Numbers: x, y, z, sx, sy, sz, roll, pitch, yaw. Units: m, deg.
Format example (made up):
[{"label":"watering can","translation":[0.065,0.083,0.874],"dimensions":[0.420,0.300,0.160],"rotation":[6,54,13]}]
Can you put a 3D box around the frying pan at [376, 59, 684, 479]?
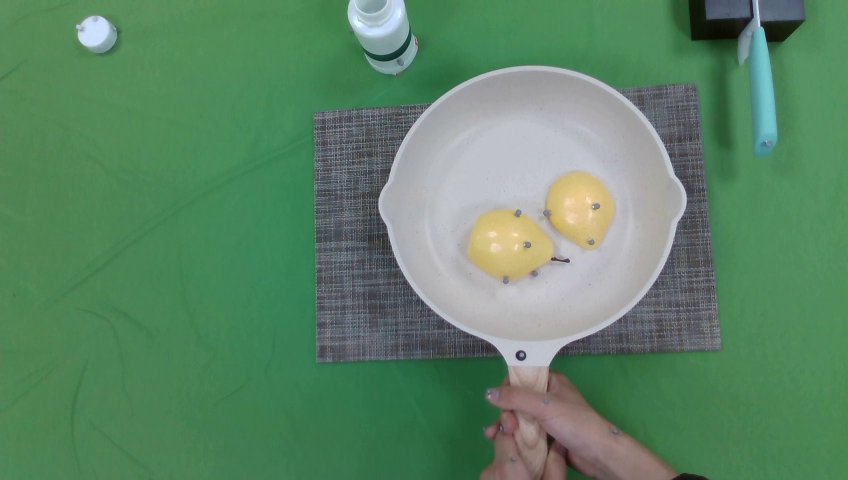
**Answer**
[{"label":"frying pan","translation":[0.102,0.058,0.610],"dimensions":[0.306,0.103,0.485],"rotation":[0,73,9]}]

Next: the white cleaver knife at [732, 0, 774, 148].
[{"label":"white cleaver knife","translation":[0.356,-0.239,0.665],"dimensions":[0.021,0.066,0.285],"rotation":[-1,81,11]}]

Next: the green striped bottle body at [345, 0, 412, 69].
[{"label":"green striped bottle body","translation":[-0.051,-0.245,0.681],"dimensions":[0.063,0.119,0.063],"rotation":[-1,82,6]}]

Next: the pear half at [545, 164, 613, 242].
[{"label":"pear half","translation":[0.168,-0.042,0.652],"dimensions":[0.070,0.031,0.087],"rotation":[-18,75,9]}]

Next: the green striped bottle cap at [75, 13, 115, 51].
[{"label":"green striped bottle cap","translation":[-0.420,-0.265,0.773],"dimensions":[0.044,0.020,0.044],"rotation":[-1,83,7]}]

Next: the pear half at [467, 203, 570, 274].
[{"label":"pear half","translation":[0.102,0.000,0.643],"dimensions":[0.109,0.056,0.076],"rotation":[11,88,7]}]
